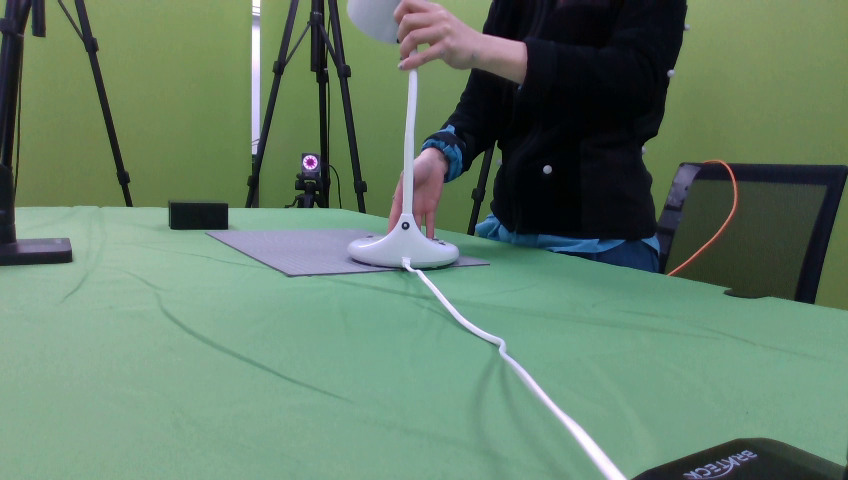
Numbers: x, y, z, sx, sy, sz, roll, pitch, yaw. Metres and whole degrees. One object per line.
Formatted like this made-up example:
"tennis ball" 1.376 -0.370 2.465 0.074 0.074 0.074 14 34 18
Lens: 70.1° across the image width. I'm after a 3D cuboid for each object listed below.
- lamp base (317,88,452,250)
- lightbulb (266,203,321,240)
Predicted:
"lamp base" -0.041 -0.081 0.707 0.161 0.180 0.178 -1 8 -22
"lightbulb" -0.224 -0.026 1.032 0.059 0.059 0.108 8 25 38
